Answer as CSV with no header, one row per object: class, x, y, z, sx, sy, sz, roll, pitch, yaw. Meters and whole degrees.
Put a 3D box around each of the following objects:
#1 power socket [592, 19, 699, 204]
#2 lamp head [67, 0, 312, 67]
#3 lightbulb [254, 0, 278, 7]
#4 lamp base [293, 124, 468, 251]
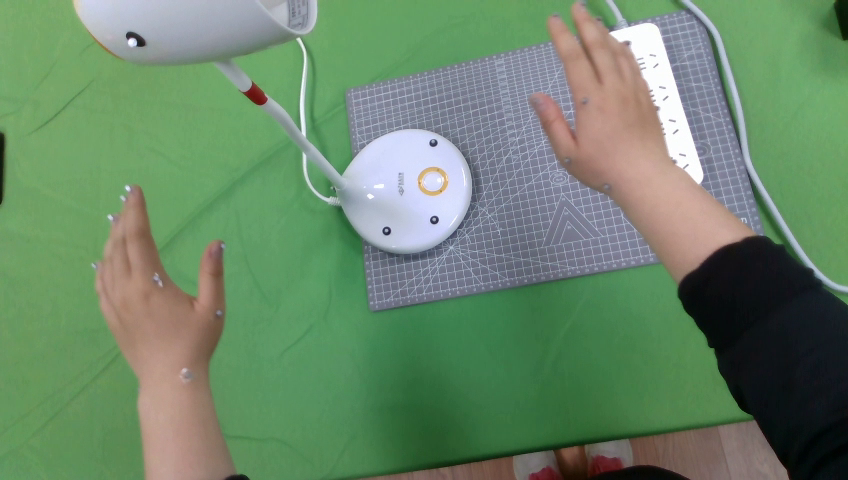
power socket,0.251,-0.152,0.696,0.072,0.033,0.225,-12,75,8
lamp head,-0.142,-0.152,0.358,0.122,0.113,0.111,-20,73,23
lightbulb,-0.121,-0.157,0.342,0.107,0.060,0.059,-8,75,16
lamp base,-0.054,-0.079,0.667,0.179,0.181,0.159,-17,74,11
